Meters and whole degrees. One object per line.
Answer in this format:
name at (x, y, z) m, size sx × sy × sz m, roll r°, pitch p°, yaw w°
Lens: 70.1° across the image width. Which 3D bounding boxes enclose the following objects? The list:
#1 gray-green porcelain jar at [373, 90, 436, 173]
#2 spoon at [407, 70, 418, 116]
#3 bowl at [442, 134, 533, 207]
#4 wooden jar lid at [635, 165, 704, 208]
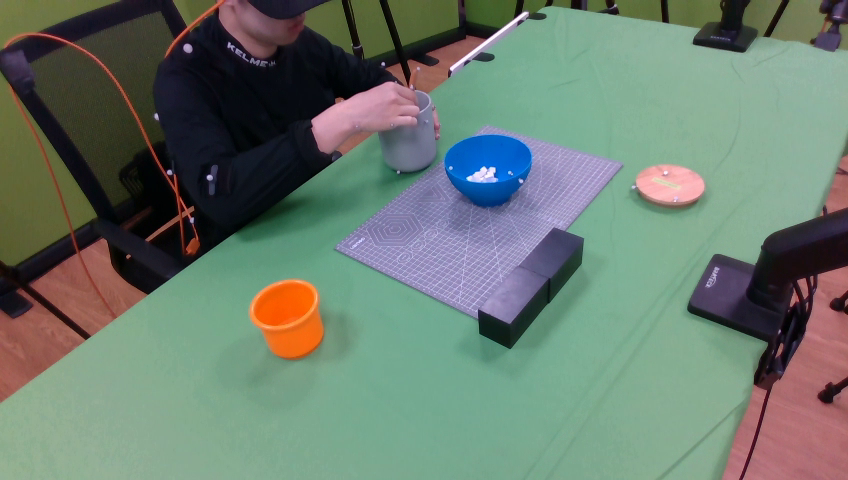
gray-green porcelain jar at (-0.034, -0.198, 1.125) m, size 0.106 × 0.127 × 0.105 m, roll -4°, pitch 41°, yaw 4°
spoon at (-0.024, -0.218, 1.085) m, size 0.042 × 0.194 × 0.021 m, roll -26°, pitch 51°, yaw -26°
bowl at (0.110, -0.109, 1.033) m, size 0.151 × 0.077 × 0.150 m, roll -4°, pitch 41°, yaw 4°
wooden jar lid at (0.410, -0.089, 1.014) m, size 0.108 × 0.021 × 0.108 m, roll -5°, pitch 42°, yaw 5°
